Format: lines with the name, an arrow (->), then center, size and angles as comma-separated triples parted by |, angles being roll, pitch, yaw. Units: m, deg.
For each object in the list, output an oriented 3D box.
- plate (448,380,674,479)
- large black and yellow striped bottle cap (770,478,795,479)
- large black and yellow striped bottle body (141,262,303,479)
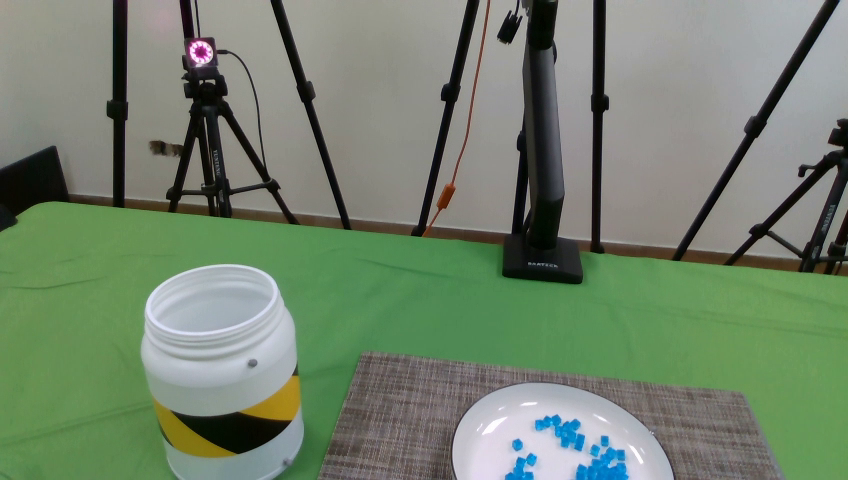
plate -> 0.126, 0.217, 0.572 | 0.208, 0.039, 0.206 | 2, 30, -1
large black and yellow striped bottle cap -> 0.343, 0.262, 0.532 | 0.115, 0.019, 0.114 | 5, 31, -3
large black and yellow striped bottle body -> -0.185, 0.125, 0.568 | 0.131, 0.185, 0.129 | 2, 30, -1
